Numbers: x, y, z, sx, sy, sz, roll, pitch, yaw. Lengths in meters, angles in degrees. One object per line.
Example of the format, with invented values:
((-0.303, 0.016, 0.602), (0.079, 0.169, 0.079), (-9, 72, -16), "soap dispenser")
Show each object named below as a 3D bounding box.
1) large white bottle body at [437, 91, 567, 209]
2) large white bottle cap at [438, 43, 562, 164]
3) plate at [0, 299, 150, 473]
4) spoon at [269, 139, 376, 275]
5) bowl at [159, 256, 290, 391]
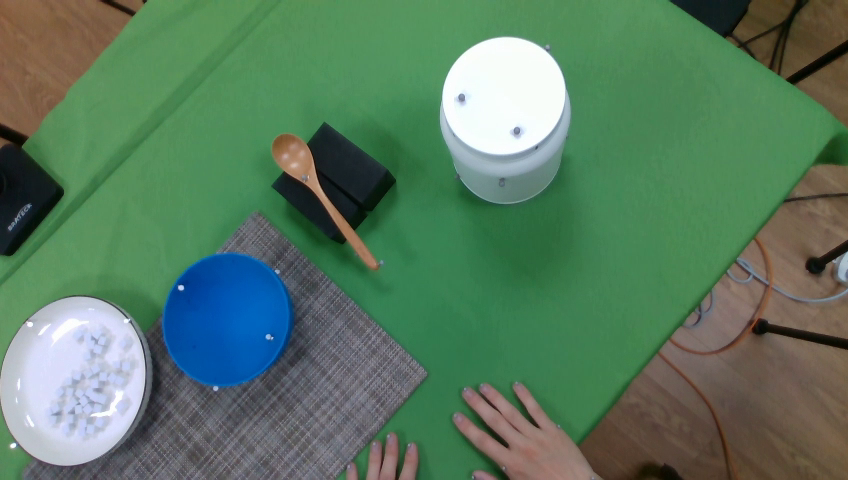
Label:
((0.084, -0.114, 0.649), (0.130, 0.185, 0.130), (-1, 81, 8), "large white bottle body")
((0.071, -0.128, 0.566), (0.114, 0.018, 0.114), (-1, 81, 7), "large white bottle cap")
((-0.431, 0.178, 0.753), (0.209, 0.038, 0.208), (-2, 79, 10), "plate")
((-0.117, -0.037, 0.704), (0.041, 0.022, 0.193), (-36, 83, -4), "spoon")
((-0.220, 0.098, 0.713), (0.151, 0.077, 0.151), (-1, 82, 8), "bowl")
